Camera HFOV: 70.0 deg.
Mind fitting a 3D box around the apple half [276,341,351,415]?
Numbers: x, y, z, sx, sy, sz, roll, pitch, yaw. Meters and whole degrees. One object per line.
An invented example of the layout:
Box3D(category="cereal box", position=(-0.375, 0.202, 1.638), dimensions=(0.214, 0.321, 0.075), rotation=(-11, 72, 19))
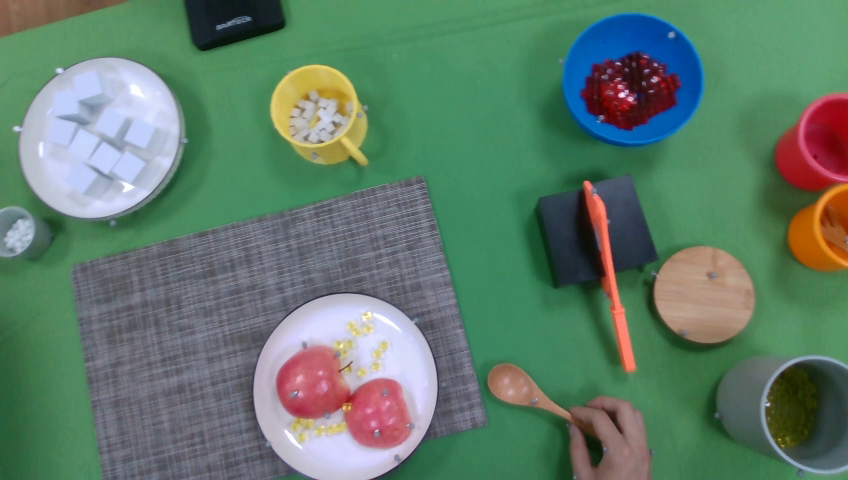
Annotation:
Box3D(category="apple half", position=(-0.126, 0.154, 0.670), dimensions=(0.074, 0.053, 0.080), rotation=(-17, 81, 4))

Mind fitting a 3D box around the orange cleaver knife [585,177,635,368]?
Box3D(category="orange cleaver knife", position=(0.201, 0.036, 0.661), dimensions=(0.012, 0.077, 0.212), rotation=(-13, 105, 5))

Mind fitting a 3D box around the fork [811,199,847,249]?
Box3D(category="fork", position=(0.441, 0.023, 0.610), dimensions=(0.028, 0.019, 0.205), rotation=(1, 38, 5))

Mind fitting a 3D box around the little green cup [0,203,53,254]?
Box3D(category="little green cup", position=(-0.490, -0.012, 0.740), dimensions=(0.061, 0.039, 0.061), rotation=(0, 82, 3))

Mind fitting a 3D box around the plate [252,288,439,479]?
Box3D(category="plate", position=(-0.087, 0.159, 0.682), dimensions=(0.209, 0.038, 0.208), rotation=(-1, 82, 4))

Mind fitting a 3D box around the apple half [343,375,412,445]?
Box3D(category="apple half", position=(-0.054, 0.190, 0.668), dimensions=(0.081, 0.033, 0.081), rotation=(-1, 78, 5))

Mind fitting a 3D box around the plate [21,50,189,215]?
Box3D(category="plate", position=(-0.388, -0.130, 0.751), dimensions=(0.207, 0.039, 0.207), rotation=(-1, 82, 4))

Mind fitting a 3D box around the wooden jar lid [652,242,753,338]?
Box3D(category="wooden jar lid", position=(0.311, 0.056, 0.681), dimensions=(0.108, 0.021, 0.108), rotation=(-1, 82, 6))

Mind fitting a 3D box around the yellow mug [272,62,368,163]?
Box3D(category="yellow mug", position=(-0.111, -0.140, 0.718), dimensions=(0.100, 0.064, 0.130), rotation=(-43, 82, -3))

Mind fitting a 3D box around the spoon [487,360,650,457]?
Box3D(category="spoon", position=(0.157, 0.189, 0.666), dimensions=(0.193, 0.022, 0.041), rotation=(26, 68, 13))

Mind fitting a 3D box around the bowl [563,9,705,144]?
Box3D(category="bowl", position=(0.230, -0.174, 0.691), dimensions=(0.151, 0.077, 0.151), rotation=(-1, 82, 4))

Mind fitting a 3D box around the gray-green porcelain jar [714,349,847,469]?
Box3D(category="gray-green porcelain jar", position=(0.361, 0.163, 0.607), dimensions=(0.106, 0.127, 0.105), rotation=(-1, 81, 4))
